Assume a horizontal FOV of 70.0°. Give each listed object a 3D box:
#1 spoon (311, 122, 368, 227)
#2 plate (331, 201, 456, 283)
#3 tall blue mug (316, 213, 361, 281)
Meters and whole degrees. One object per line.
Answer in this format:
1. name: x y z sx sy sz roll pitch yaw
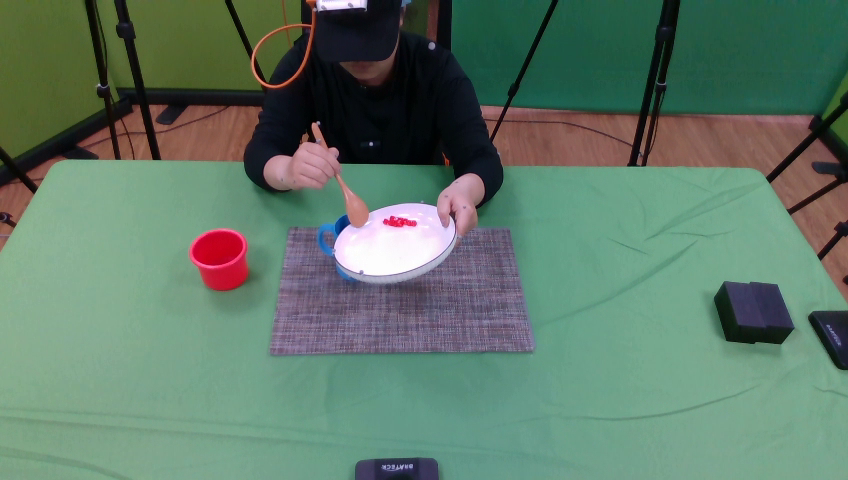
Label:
1. spoon: -0.147 -0.110 1.034 0.041 0.194 0.021 -32 11 -25
2. plate: -0.048 0.007 1.000 0.207 0.039 0.206 -8 34 6
3. tall blue mug: -0.142 0.014 1.109 0.107 0.108 0.077 -5 48 -9
